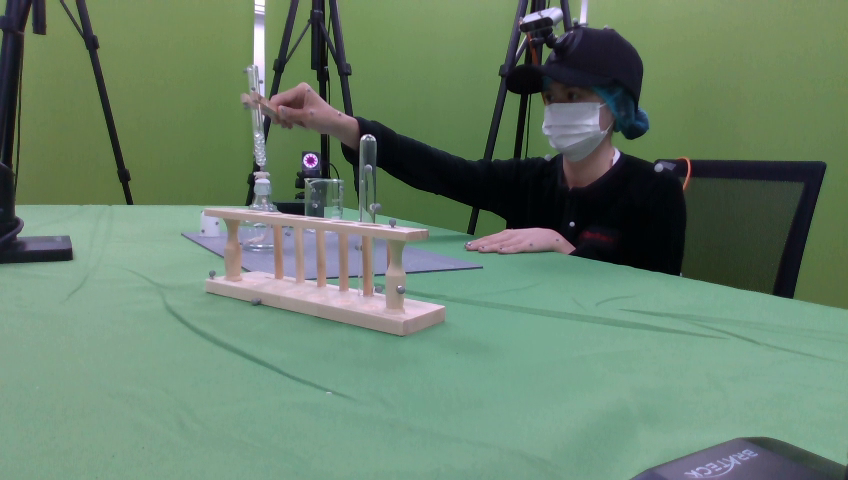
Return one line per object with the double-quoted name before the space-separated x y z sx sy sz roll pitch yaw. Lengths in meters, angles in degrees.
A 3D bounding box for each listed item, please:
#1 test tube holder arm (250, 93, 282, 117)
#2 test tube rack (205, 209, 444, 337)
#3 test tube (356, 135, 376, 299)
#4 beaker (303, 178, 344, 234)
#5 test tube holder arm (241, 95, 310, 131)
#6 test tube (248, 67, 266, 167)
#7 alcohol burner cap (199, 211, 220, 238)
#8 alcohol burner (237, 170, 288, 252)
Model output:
"test tube holder arm" -0.236 -0.201 0.907 0.010 0.015 0.088 -7 -5 10
"test tube rack" -0.100 0.021 0.565 0.241 0.085 0.067 7 9 32
"test tube" -0.053 -0.019 0.550 0.017 0.150 0.017 2 9 0
"beaker" -0.189 -0.063 1.119 0.073 0.100 0.084 6 9 28
"test tube holder arm" -0.229 -0.198 0.951 0.013 0.015 0.179 -7 -5 18
"test tube" -0.244 -0.180 0.882 0.017 0.150 0.017 -6 -6 0
"alcohol burner cap" -0.356 -0.027 1.002 0.034 0.048 0.034 3 7 0
"alcohol burner" -0.236 -0.042 0.882 0.078 0.119 0.078 2 9 0
